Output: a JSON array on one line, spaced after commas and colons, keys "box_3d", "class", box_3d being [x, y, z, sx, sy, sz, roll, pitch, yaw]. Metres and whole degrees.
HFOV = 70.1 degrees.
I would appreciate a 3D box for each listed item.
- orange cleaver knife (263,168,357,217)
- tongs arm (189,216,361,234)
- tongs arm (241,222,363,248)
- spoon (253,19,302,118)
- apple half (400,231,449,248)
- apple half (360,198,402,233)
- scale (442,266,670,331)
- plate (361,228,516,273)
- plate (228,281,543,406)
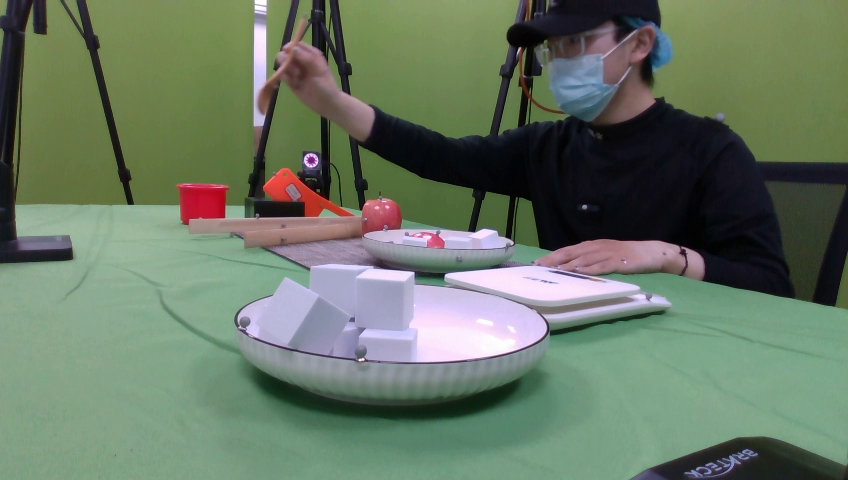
[{"box_3d": [-0.240, -0.077, 1.294, 0.212, 0.077, 0.012, 32, -7, -26], "class": "orange cleaver knife"}, {"box_3d": [-0.221, -0.028, 1.088, 0.387, 0.026, 0.050, -3, 9, -43], "class": "tongs arm"}, {"box_3d": [-0.159, -0.016, 1.034, 0.028, 0.028, 0.389, 2, 6, 33], "class": "tongs arm"}, {"box_3d": [-0.241, -0.289, 1.005, 0.021, 0.193, 0.042, 20, -17, 11], "class": "spoon"}, {"box_3d": [0.003, 0.005, 0.843, 0.081, 0.033, 0.081, 1, 4, 0], "class": "apple half"}, {"box_3d": [-0.066, -0.032, 1.014, 0.053, 0.074, 0.081, 10, 6, 21], "class": "apple half"}, {"box_3d": [0.131, 0.052, 0.603, 0.202, 0.031, 0.148, -2, 9, -37], "class": "scale"}, {"box_3d": [0.018, 0.013, 0.818, 0.209, 0.038, 0.209, 2, 7, 0], "class": "plate"}, {"box_3d": [-0.025, 0.067, 0.413, 0.208, 0.039, 0.207, 3, 7, 0], "class": "plate"}]
